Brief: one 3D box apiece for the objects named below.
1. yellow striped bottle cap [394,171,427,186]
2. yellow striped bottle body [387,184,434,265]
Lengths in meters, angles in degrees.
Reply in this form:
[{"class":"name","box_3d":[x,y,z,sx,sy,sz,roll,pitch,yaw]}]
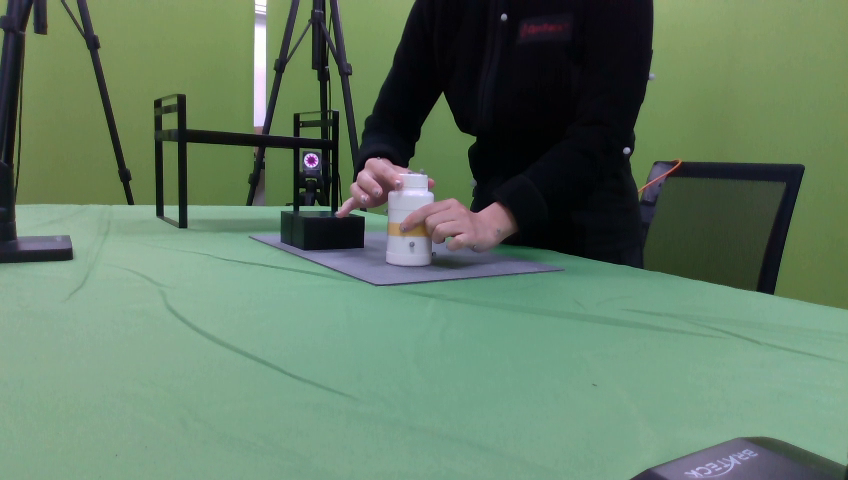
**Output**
[{"class":"yellow striped bottle cap","box_3d":[-0.018,-0.081,0.802,0.044,0.018,0.044,4,8,0]},{"class":"yellow striped bottle body","box_3d":[-0.018,-0.030,0.809,0.063,0.120,0.063,1,8,0]}]
